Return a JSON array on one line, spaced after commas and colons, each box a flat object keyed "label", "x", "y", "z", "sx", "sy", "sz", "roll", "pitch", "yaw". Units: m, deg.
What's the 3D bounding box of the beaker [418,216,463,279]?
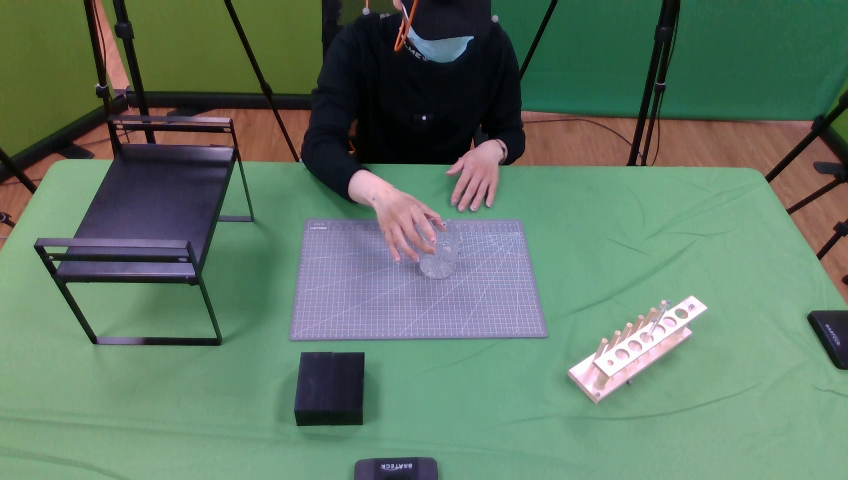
[{"label": "beaker", "x": 0.030, "y": 0.017, "z": 1.121, "sx": 0.084, "sy": 0.101, "sz": 0.073, "roll": 18, "pitch": 48, "yaw": 13}]

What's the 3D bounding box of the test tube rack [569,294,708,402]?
[{"label": "test tube rack", "x": 0.360, "y": 0.167, "z": 1.014, "sx": 0.242, "sy": 0.085, "sz": 0.066, "roll": -25, "pitch": 53, "yaw": -25}]

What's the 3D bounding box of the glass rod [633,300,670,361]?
[{"label": "glass rod", "x": 0.351, "y": 0.144, "z": 0.944, "sx": 0.008, "sy": 0.201, "sz": 0.008, "roll": -1, "pitch": 55, "yaw": 1}]
